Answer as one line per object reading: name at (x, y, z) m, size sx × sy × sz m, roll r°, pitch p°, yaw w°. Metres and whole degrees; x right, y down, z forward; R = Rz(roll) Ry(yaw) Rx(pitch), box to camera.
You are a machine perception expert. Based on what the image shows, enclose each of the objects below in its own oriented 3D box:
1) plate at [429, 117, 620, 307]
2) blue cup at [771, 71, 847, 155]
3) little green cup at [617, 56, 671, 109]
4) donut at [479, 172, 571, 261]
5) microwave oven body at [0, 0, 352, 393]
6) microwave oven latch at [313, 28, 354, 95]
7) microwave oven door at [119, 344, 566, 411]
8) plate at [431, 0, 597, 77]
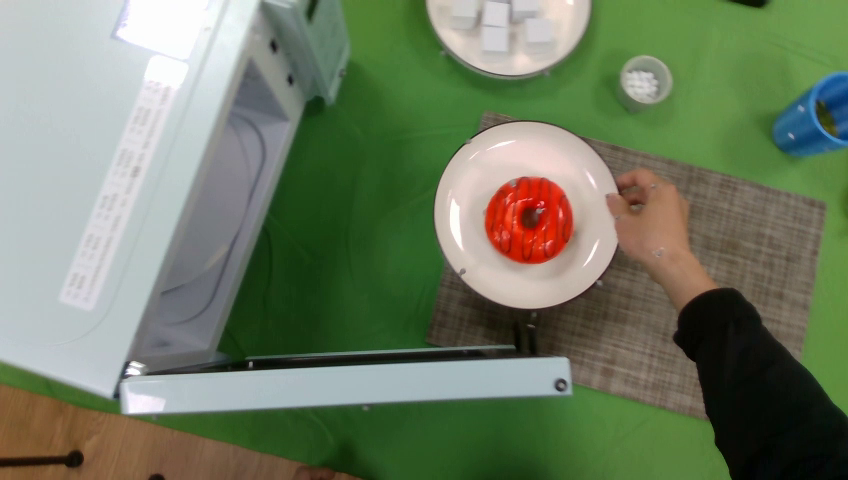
plate at (0.108, -0.031, 0.666) m, size 0.209 × 0.038 × 0.208 m, roll 0°, pitch 84°, yaw -3°
blue cup at (0.477, -0.144, 0.732) m, size 0.093 × 0.100 × 0.092 m, roll 0°, pitch 84°, yaw -2°
little green cup at (0.274, -0.196, 0.763) m, size 0.061 × 0.039 × 0.061 m, roll 0°, pitch 83°, yaw -1°
donut at (0.109, -0.025, 0.655) m, size 0.099 × 0.048 × 0.099 m, roll 0°, pitch 86°, yaw -2°
microwave oven body at (-0.304, -0.111, 0.617) m, size 0.326 × 0.260 × 0.440 m, roll 18°, pitch 83°, yaw 0°
microwave oven latch at (-0.110, -0.219, 0.733) m, size 0.030 × 0.029 × 0.079 m, roll 23°, pitch 84°, yaw 1°
microwave oven door at (-0.064, 0.128, 0.592) m, size 0.356 × 0.244 × 0.039 m, roll -2°, pitch 81°, yaw -2°
plate at (0.112, -0.303, 0.770) m, size 0.208 × 0.039 × 0.207 m, roll 0°, pitch 83°, yaw -2°
